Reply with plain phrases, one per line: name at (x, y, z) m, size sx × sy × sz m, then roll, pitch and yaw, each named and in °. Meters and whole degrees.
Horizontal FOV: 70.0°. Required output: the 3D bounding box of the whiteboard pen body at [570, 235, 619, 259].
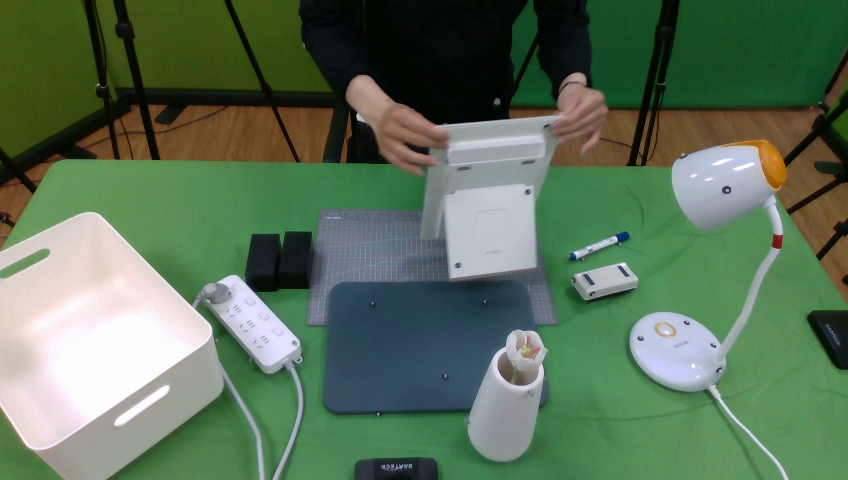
whiteboard pen body at (0.351, 0.010, 1.215) m, size 0.141 × 0.017 × 0.017 m, roll -20°, pitch 51°, yaw -23°

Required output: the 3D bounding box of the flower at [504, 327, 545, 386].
flower at (0.114, 0.189, 0.790) m, size 0.044 × 0.363 × 0.038 m, roll 33°, pitch 69°, yaw 19°

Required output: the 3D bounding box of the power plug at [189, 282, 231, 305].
power plug at (-0.368, 0.097, 1.038) m, size 0.072 × 0.053 × 0.035 m, roll -27°, pitch 55°, yaw -21°

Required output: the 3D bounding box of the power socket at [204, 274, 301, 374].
power socket at (-0.296, 0.140, 1.035) m, size 0.072 × 0.033 × 0.225 m, roll -33°, pitch 57°, yaw -29°

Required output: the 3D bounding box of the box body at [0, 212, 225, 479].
box body at (-0.506, 0.155, 0.916) m, size 0.362 × 0.161 × 0.254 m, roll 35°, pitch 54°, yaw 26°

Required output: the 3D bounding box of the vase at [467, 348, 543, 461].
vase at (0.116, 0.234, 0.860) m, size 0.098 × 0.201 × 0.097 m, roll 1°, pitch 47°, yaw -1°

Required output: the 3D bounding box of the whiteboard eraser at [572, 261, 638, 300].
whiteboard eraser at (0.338, 0.078, 1.133) m, size 0.113 × 0.042 × 0.055 m, roll -12°, pitch 46°, yaw -15°

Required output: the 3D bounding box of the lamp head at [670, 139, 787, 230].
lamp head at (0.415, -0.079, 0.812) m, size 0.113 × 0.123 × 0.112 m, roll 12°, pitch 70°, yaw -37°

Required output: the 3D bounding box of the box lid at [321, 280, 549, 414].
box lid at (0.013, 0.174, 1.040) m, size 0.372 × 0.015 × 0.261 m, roll 0°, pitch 47°, yaw -4°

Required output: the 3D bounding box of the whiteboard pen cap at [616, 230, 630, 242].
whiteboard pen cap at (0.403, -0.007, 1.235) m, size 0.033 × 0.018 × 0.018 m, roll -19°, pitch 50°, yaw -24°

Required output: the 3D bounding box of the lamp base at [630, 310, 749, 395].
lamp base at (0.447, 0.142, 0.984) m, size 0.161 × 0.181 × 0.178 m, roll -24°, pitch 55°, yaw -24°

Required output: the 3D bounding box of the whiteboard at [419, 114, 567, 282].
whiteboard at (0.118, -0.047, 1.021) m, size 0.217 × 0.307 × 0.143 m, roll -6°, pitch 57°, yaw -9°
